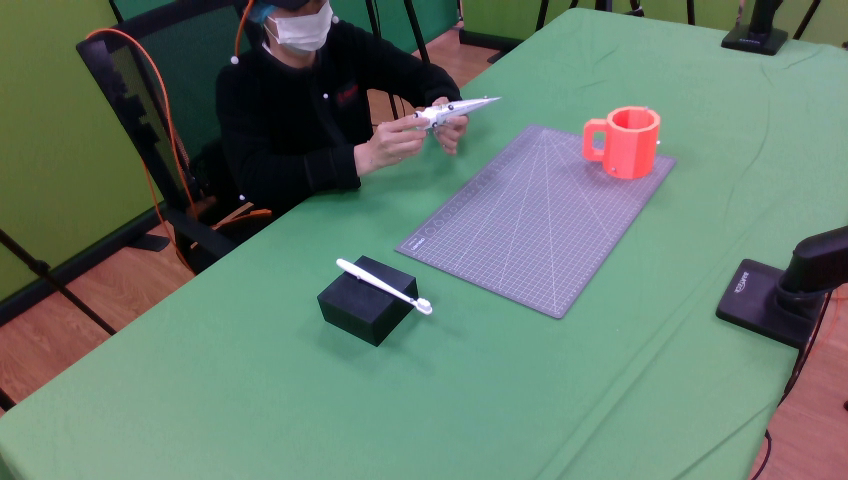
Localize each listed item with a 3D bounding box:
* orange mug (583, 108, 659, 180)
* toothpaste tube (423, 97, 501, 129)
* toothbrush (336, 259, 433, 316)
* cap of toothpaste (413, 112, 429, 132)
[{"bbox_3d":[0.343,-0.171,1.061,0.126,0.101,0.083,10,43,15],"label":"orange mug"},{"bbox_3d":[0.059,-0.228,1.057,0.166,0.034,0.054,-26,26,-30],"label":"toothpaste tube"},{"bbox_3d":[-0.059,0.062,0.839,0.180,0.017,0.014,24,54,33],"label":"toothbrush"},{"bbox_3d":[-0.004,-0.200,1.019,0.011,0.037,0.037,-28,43,-31],"label":"cap of toothpaste"}]
